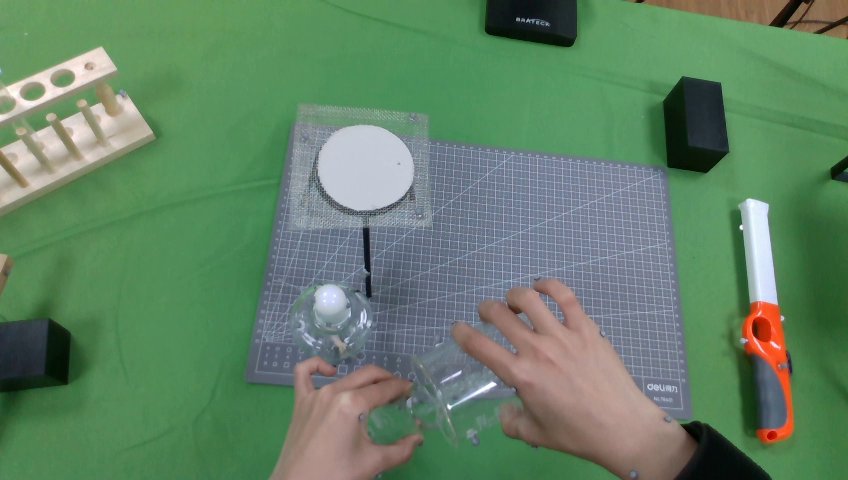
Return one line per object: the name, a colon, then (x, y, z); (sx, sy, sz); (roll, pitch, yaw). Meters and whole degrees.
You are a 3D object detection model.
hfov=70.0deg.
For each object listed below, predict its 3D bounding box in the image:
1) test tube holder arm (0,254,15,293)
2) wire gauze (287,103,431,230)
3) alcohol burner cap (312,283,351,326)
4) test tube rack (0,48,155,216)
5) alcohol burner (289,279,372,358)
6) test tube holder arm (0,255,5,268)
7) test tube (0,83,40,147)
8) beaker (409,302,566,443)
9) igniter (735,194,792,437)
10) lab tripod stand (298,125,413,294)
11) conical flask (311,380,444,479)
test tube holder arm: (-0.382, 0.054, 0.529); (0.010, 0.015, 0.087); (9, 65, -3)
wire gauze: (-0.056, -0.066, 0.535); (0.122, 0.011, 0.124); (1, 69, -7)
alcohol burner cap: (-0.082, 0.054, 0.526); (0.034, 0.048, 0.033); (1, 70, -3)
test tube rack: (-0.408, -0.091, 0.602); (0.242, 0.085, 0.066); (-33, 75, -19)
alcohol burner: (-0.086, 0.067, 0.559); (0.078, 0.119, 0.077); (4, 65, -8)
test tube holder arm: (-0.392, 0.094, 0.509); (0.013, 0.015, 0.177); (8, 65, -4)
test tube: (-0.398, -0.134, 0.568); (0.017, 0.151, 0.017); (4, 62, -7)
beaker: (0.049, 0.098, 0.462); (0.100, 0.084, 0.073); (-24, 71, -12)
igniter: (0.370, 0.076, 0.665); (0.057, 0.025, 0.274); (13, 66, -13)
lab tripod stand: (-0.061, -0.036, 0.595); (0.149, 0.132, 0.147); (3, 67, -8)
conical flask: (-0.036, 0.158, 0.517); (0.076, 0.122, 0.074); (28, 44, -30)
